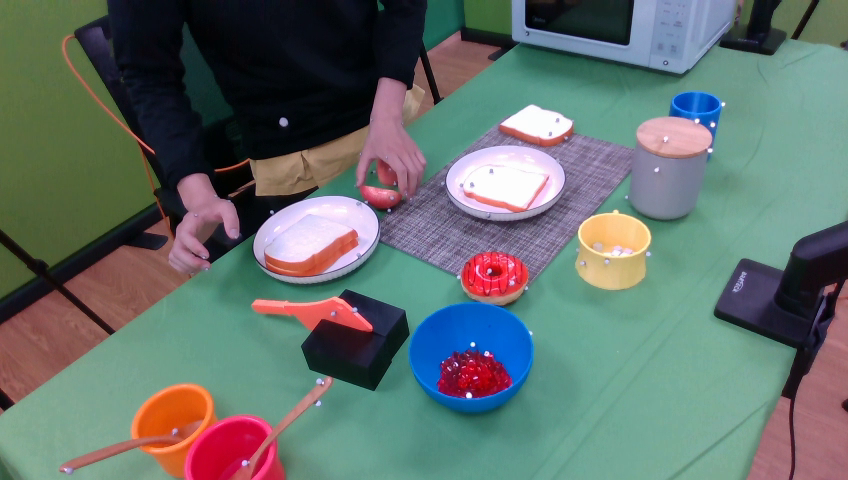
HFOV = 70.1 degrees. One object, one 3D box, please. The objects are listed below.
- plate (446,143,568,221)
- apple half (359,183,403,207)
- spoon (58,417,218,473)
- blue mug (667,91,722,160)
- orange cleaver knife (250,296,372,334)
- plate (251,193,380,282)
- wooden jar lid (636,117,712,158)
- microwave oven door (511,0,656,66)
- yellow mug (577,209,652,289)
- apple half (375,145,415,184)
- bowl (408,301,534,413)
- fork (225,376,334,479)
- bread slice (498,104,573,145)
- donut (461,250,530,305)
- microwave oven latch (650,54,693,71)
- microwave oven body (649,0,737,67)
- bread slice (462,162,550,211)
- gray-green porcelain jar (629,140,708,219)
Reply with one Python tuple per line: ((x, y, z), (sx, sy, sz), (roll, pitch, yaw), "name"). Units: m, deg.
((0.142, -0.096, 1.045), (0.207, 0.039, 0.206), (-4, 40, 4), "plate")
((-0.076, -0.072, 1.050), (0.081, 0.082, 0.032), (9, 81, 18), "apple half")
((-0.304, 0.221, 0.661), (0.041, 0.195, 0.021), (19, 92, 27), "spoon")
((0.474, -0.207, 1.079), (0.082, 0.106, 0.116), (4, 42, 13), "blue mug")
((-0.158, 0.103, 0.828), (0.210, 0.078, 0.012), (-4, 43, 39), "orange cleaver knife")
((-0.173, -0.001, 0.984), (0.209, 0.038, 0.208), (-4, 40, 4), "plate")
((0.377, -0.151, 0.917), (0.108, 0.021, 0.108), (-2, 41, 3), "wooden jar lid")
((0.351, -0.539, 1.348), (0.353, 0.245, 0.039), (24, 50, 31), "microwave oven door")
((0.279, 0.004, 0.893), (0.099, 0.064, 0.130), (5, 41, 15), "yellow mug")
((-0.055, -0.149, 1.129), (0.074, 0.053, 0.080), (-1, 40, 4), "apple half")
((0.059, 0.156, 0.739), (0.151, 0.077, 0.150), (-4, 40, 4), "bowl")
((-0.163, 0.216, 0.646), (0.207, 0.019, 0.028), (-49, 42, 16), "fork")
((0.231, -0.231, 1.205), (0.105, 0.019, 0.130), (-36, 47, -29), "bread slice")
((0.103, 0.053, 0.872), (0.099, 0.048, 0.098), (-4, 40, 4), "donut")
((0.531, -0.386, 1.301), (0.078, 0.029, 0.030), (26, 51, 33), "microwave oven latch")
((0.475, -0.602, 1.411), (0.438, 0.261, 0.327), (23, 50, 32), "microwave oven body")
((0.135, -0.094, 1.045), (0.133, 0.018, 0.107), (15, 45, 23), "bread slice")
((0.383, -0.105, 0.958), (0.106, 0.127, 0.105), (-4, 41, 4), "gray-green porcelain jar")
